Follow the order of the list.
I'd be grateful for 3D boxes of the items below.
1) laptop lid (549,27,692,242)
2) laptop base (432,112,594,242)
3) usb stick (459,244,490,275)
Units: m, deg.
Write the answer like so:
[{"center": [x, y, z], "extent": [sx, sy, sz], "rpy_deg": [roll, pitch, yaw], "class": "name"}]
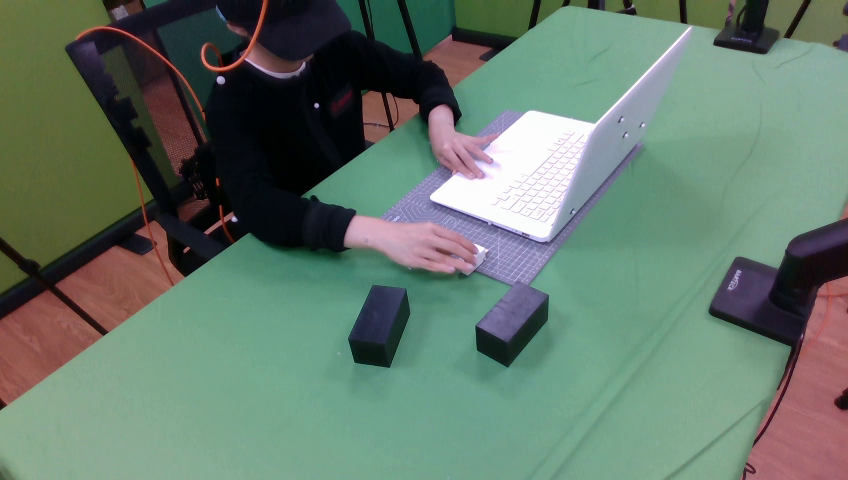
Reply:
[{"center": [0.311, -0.167, 0.948], "extent": [0.013, 0.242, 0.358], "rpy_deg": [33, 52, 20], "class": "laptop lid"}, {"center": [0.208, -0.128, 1.098], "extent": [0.233, 0.023, 0.355], "rpy_deg": [20, 47, 33], "class": "laptop base"}, {"center": [0.080, 0.026, 0.926], "extent": [0.021, 0.027, 0.059], "rpy_deg": [29, 50, 32], "class": "usb stick"}]
